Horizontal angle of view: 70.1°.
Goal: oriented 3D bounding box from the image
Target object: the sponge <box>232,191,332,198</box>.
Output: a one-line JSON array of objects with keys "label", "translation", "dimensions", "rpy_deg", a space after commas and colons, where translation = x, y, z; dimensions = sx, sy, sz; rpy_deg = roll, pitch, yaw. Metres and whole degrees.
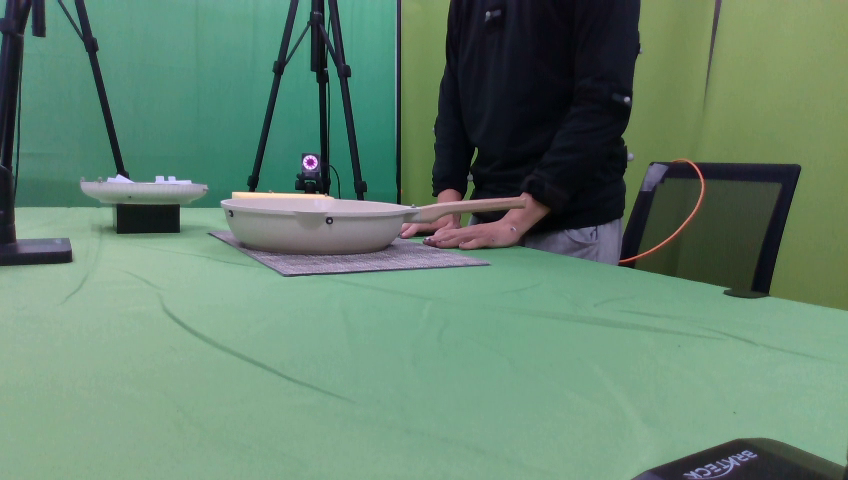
[{"label": "sponge", "translation": [-0.318, -0.074, 1.355], "dimensions": [0.208, 0.061, 0.117], "rpy_deg": [0, 8, -24]}]

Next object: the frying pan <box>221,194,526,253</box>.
[{"label": "frying pan", "translation": [-0.070, -0.043, 0.984], "dimensions": [0.489, 0.102, 0.306], "rpy_deg": [-7, 9, -5]}]

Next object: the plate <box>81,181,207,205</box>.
[{"label": "plate", "translation": [-0.504, -0.086, 1.100], "dimensions": [0.208, 0.039, 0.207], "rpy_deg": [2, 6, 0]}]
